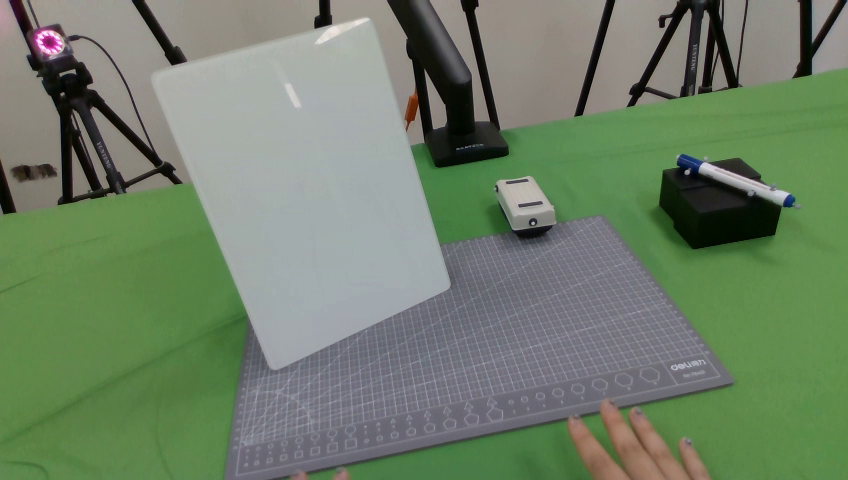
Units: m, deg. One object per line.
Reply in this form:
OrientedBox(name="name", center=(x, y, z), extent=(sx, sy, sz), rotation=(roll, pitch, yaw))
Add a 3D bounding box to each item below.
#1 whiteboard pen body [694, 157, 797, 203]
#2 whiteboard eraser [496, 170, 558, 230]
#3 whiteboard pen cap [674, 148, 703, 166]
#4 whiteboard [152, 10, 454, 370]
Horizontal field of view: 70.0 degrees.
OrientedBox(name="whiteboard pen body", center=(0.362, -0.075, 0.704), extent=(0.017, 0.017, 0.139), rotation=(-25, 38, -23))
OrientedBox(name="whiteboard eraser", center=(0.131, -0.052, 0.782), extent=(0.055, 0.042, 0.111), rotation=(-11, 31, -1))
OrientedBox(name="whiteboard pen cap", center=(0.326, -0.102, 0.747), extent=(0.033, 0.018, 0.018), rotation=(-12, 30, 27))
OrientedBox(name="whiteboard", center=(-0.128, -0.059, 0.660), extent=(0.217, 0.307, 0.143), rotation=(-23, 18, -20))
